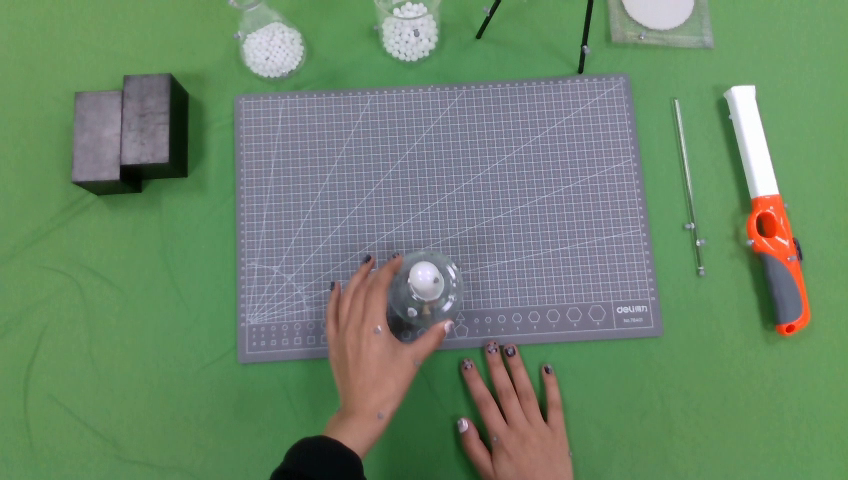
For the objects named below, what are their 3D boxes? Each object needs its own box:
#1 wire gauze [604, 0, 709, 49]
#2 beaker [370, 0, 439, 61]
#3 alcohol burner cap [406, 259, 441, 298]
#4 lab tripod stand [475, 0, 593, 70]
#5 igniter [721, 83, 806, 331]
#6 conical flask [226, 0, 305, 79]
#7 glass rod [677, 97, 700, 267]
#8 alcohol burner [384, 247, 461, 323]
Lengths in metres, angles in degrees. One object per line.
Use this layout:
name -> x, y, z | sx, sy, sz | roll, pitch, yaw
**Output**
wire gauze -> 0.273, -0.286, 0.715 | 0.125, 0.011, 0.121 | 1, 81, -2
beaker -> -0.017, -0.248, 0.658 | 0.084, 0.100, 0.073 | -30, 81, -6
alcohol burner cap -> -0.001, 0.033, 0.561 | 0.034, 0.048, 0.033 | -1, 73, 4
lab tripod stand -> 0.131, -0.261, 0.645 | 0.148, 0.132, 0.148 | 0, 81, 0
igniter -> 0.370, -0.039, 0.662 | 0.057, 0.025, 0.275 | -5, 80, -12
conical flask -> -0.174, -0.229, 0.640 | 0.075, 0.122, 0.075 | 0, 79, 0
glass rod -> 0.296, -0.068, 0.678 | 0.008, 0.008, 0.199 | -1, 79, -1
alcohol burner -> -0.001, 0.042, 0.597 | 0.078, 0.119, 0.077 | 0, 77, -1
